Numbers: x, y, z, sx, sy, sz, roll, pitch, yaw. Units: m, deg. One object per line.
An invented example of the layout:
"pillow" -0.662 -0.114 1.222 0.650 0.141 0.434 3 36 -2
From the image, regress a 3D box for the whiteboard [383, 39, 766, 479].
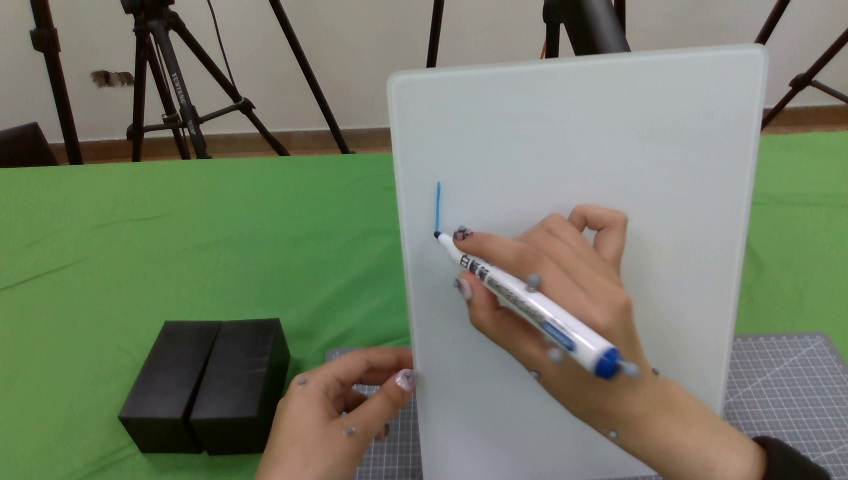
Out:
"whiteboard" 0.095 0.015 0.453 0.217 0.307 0.143 -4 21 1

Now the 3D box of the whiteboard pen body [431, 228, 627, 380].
"whiteboard pen body" 0.044 0.025 0.310 0.017 0.017 0.139 -26 40 -24
